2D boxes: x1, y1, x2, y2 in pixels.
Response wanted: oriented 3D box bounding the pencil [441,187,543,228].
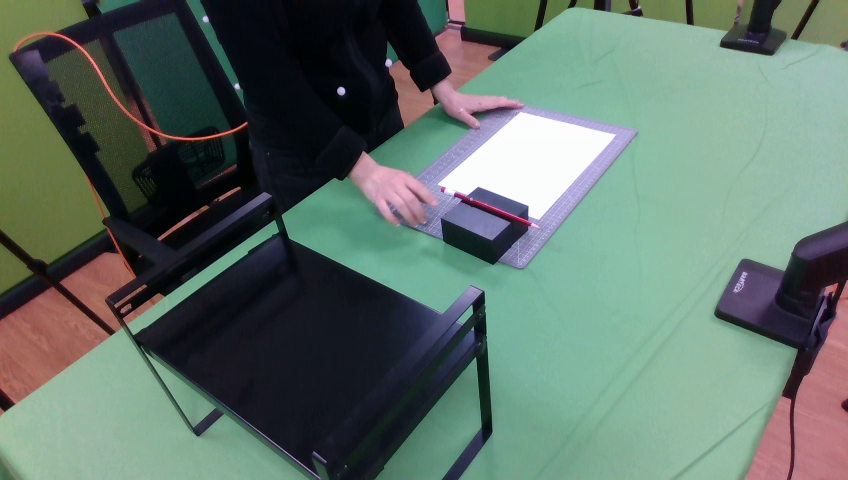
[{"bbox_3d":[0.103,-0.051,0.948,0.192,0.012,0.012,24,50,32],"label":"pencil"}]
